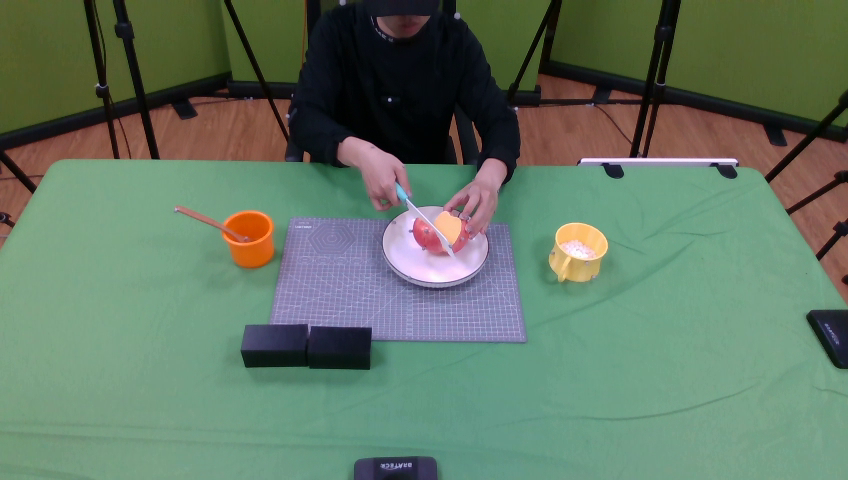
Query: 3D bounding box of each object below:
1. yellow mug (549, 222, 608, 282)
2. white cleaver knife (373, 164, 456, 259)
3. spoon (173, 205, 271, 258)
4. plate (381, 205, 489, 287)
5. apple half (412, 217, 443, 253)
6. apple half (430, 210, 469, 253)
[{"bbox_3d":[0.287,0.031,1.159,0.099,0.064,0.130,27,51,21],"label":"yellow mug"},{"bbox_3d":[-0.024,-0.057,1.163,0.021,0.066,0.284,-33,50,-8],"label":"white cleaver knife"},{"bbox_3d":[-0.362,-0.017,1.098,0.021,0.195,0.041,-32,42,27],"label":"spoon"},{"bbox_3d":[0.021,0.015,1.170,0.209,0.038,0.208,2,46,-2],"label":"plate"},{"bbox_3d":[0.000,-0.001,1.134,0.033,0.082,0.081,-37,57,-14],"label":"apple half"},{"bbox_3d":[0.052,-0.012,1.165,0.080,0.074,0.053,24,2,44],"label":"apple half"}]
